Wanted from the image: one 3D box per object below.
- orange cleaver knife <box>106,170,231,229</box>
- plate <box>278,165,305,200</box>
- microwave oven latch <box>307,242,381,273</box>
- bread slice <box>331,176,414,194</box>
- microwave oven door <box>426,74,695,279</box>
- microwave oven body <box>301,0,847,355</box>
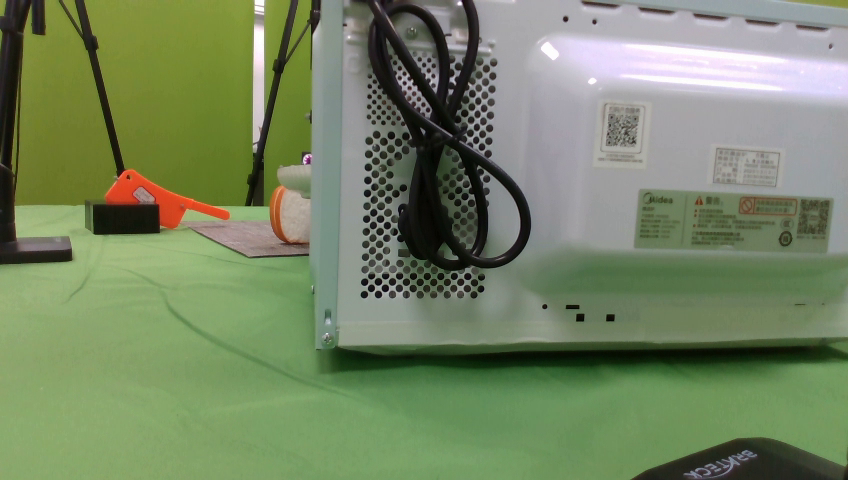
[{"bbox_3d":[-0.458,-0.060,1.097,0.212,0.077,0.012,23,-4,-38],"label":"orange cleaver knife"},{"bbox_3d":[-0.089,-0.072,0.808,0.208,0.039,0.207,0,1,0],"label":"plate"},{"bbox_3d":[-0.086,0.019,0.656,0.079,0.029,0.030,2,7,-10],"label":"microwave oven latch"},{"bbox_3d":[-0.065,-0.073,0.808,0.107,0.018,0.134,-3,2,-13],"label":"bread slice"},{"bbox_3d":[0.162,-0.091,0.812,0.354,0.243,0.039,7,9,33],"label":"microwave oven door"},{"bbox_3d":[0.120,-0.053,0.535,0.443,0.260,0.325,2,7,-11],"label":"microwave oven body"}]
